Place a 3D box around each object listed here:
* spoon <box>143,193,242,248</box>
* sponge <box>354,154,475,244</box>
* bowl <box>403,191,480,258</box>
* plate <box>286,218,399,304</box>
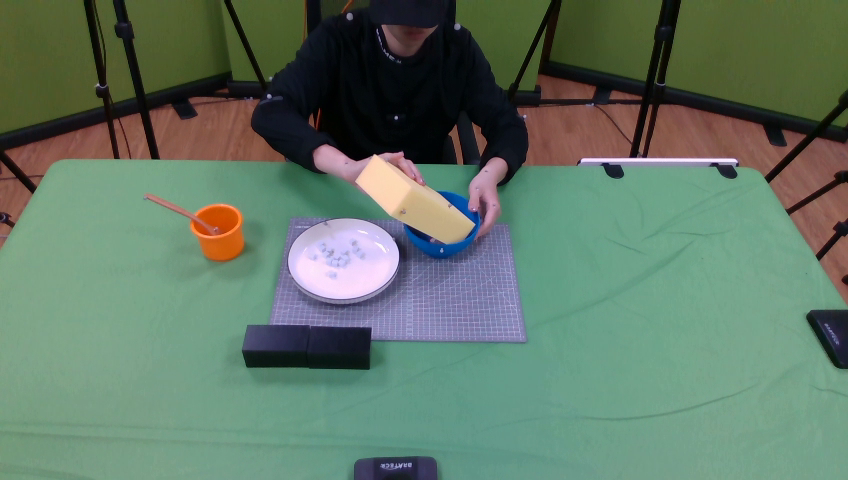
[{"bbox_3d":[-0.421,-0.037,1.113,0.021,0.195,0.041,-37,37,23],"label":"spoon"},{"bbox_3d":[-0.013,-0.065,1.079,0.061,0.208,0.117,-54,52,9],"label":"sponge"},{"bbox_3d":[0.029,-0.018,1.175,0.151,0.077,0.150,5,46,-5],"label":"bowl"},{"bbox_3d":[-0.150,0.041,1.131,0.209,0.038,0.208,2,45,-2],"label":"plate"}]
